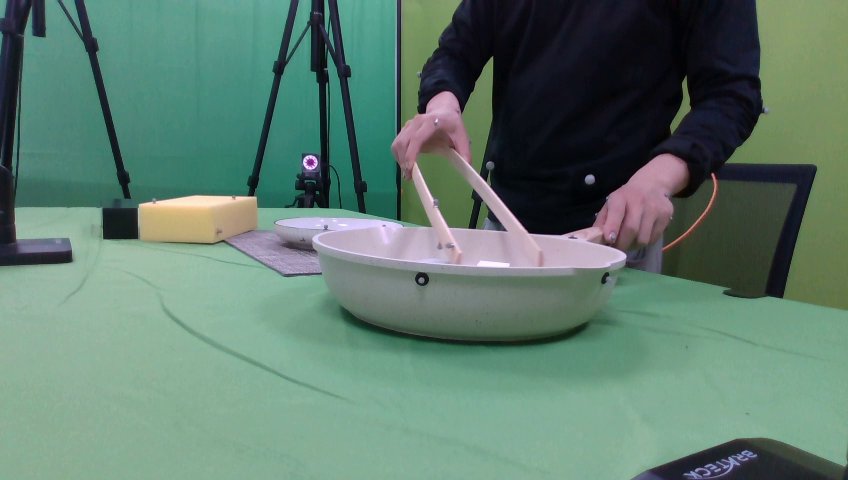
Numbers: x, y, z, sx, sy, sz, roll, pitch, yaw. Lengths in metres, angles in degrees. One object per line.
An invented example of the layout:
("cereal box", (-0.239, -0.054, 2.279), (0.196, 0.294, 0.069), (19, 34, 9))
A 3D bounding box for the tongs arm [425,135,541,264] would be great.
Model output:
("tongs arm", (0.062, -0.065, 0.751), (0.028, 0.028, 0.386), (-9, 27, -11))

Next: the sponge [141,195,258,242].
("sponge", (-0.380, -0.040, 1.047), (0.118, 0.061, 0.207), (1, 8, 3))

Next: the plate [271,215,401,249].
("plate", (-0.141, -0.012, 0.978), (0.208, 0.039, 0.207), (2, 7, 0))

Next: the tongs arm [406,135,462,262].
("tongs arm", (0.016, -0.063, 0.742), (0.051, 0.026, 0.383), (-4, 26, -11))

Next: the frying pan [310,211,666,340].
("frying pan", (0.120, 0.012, 0.643), (0.490, 0.102, 0.305), (-13, 16, -36))
